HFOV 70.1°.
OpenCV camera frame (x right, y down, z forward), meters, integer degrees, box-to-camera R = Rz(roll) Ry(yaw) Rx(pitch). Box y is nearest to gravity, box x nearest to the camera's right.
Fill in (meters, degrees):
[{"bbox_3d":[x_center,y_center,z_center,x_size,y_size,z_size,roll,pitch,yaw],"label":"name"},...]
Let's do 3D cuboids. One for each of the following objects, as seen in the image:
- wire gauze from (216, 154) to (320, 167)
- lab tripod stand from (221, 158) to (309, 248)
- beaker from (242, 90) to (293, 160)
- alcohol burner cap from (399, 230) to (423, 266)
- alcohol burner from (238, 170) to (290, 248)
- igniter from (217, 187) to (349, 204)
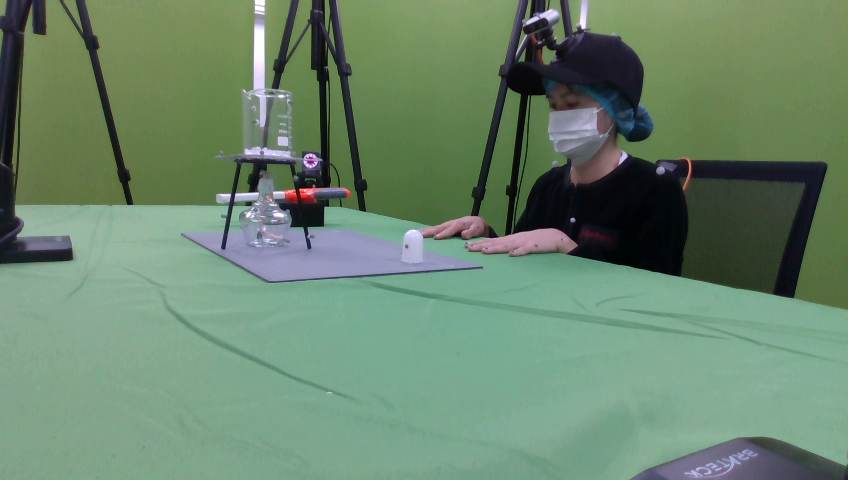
[{"bbox_3d":[-0.236,-0.121,0.906,0.126,0.011,0.121,0,8,-33],"label":"wire gauze"},{"bbox_3d":[-0.244,-0.057,0.917,0.148,0.131,0.148,1,7,0],"label":"lab tripod stand"},{"bbox_3d":[-0.235,-0.169,0.900,0.074,0.100,0.084,4,7,23],"label":"beaker"},{"bbox_3d":[-0.017,0.010,0.837,0.034,0.048,0.034,3,7,0],"label":"alcohol burner cap"},{"bbox_3d":[-0.244,-0.048,0.927,0.078,0.119,0.078,3,5,0],"label":"alcohol burner"},{"bbox_3d":[-0.285,-0.093,1.256,0.278,0.025,0.057,-6,12,-34],"label":"igniter"}]
